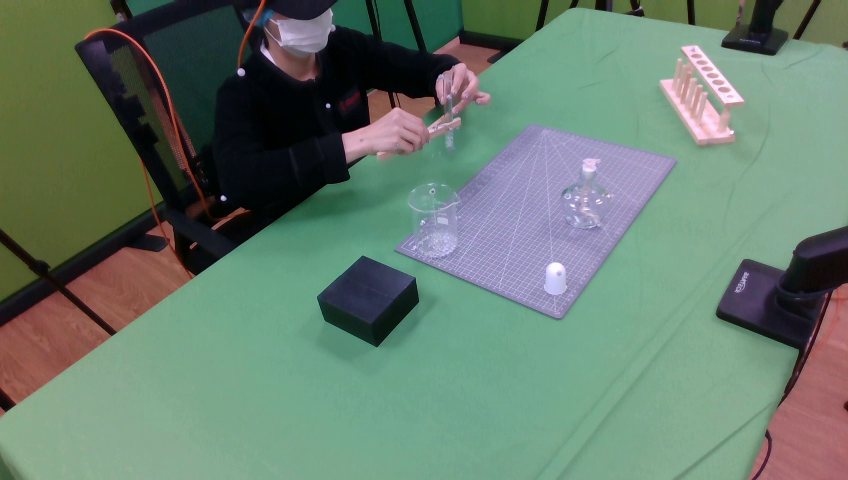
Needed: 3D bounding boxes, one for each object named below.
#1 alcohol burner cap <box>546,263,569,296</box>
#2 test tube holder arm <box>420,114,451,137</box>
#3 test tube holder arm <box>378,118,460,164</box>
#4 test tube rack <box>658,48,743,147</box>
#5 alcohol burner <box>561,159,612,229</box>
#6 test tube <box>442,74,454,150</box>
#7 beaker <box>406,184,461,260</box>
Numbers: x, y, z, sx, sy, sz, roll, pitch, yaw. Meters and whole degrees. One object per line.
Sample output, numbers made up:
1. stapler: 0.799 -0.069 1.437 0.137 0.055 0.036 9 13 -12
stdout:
1. alcohol burner cap: 0.191 0.053 0.862 0.034 0.048 0.033 -5 40 4
2. test tube holder arm: 0.021 -0.197 1.068 0.010 0.015 0.088 20 46 27
3. test tube holder arm: -0.006 -0.173 1.042 0.179 0.015 0.013 -31 46 -28
4. test tube rack: 0.532 -0.284 1.181 0.067 0.085 0.241 -5 40 4
5. alcohol burner: 0.257 -0.077 0.951 0.078 0.119 0.077 -3 40 3
6. test tube: 0.042 -0.221 1.063 0.017 0.151 0.017 -2 44 3
7. beaker: 0.019 -0.026 0.939 0.084 0.101 0.074 1 41 9
